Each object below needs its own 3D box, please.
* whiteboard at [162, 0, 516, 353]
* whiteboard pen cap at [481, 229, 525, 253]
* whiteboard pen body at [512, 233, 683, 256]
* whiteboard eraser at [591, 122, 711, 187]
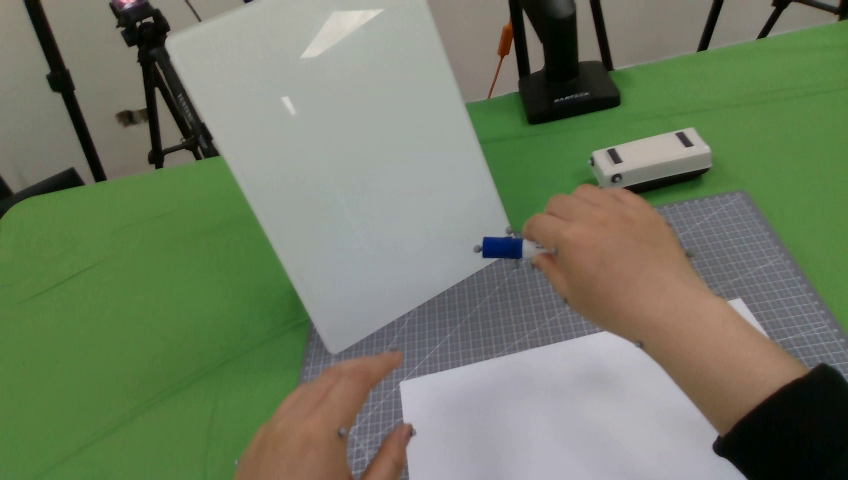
[{"bbox_3d":[-0.075,-0.090,0.599,0.217,0.307,0.142,-29,21,-14],"label":"whiteboard"},{"bbox_3d":[0.061,0.001,0.465,0.033,0.018,0.018,2,42,9],"label":"whiteboard pen cap"},{"bbox_3d":[0.118,0.004,0.454,0.140,0.017,0.017,-1,42,11],"label":"whiteboard pen body"},{"bbox_3d":[0.240,-0.089,0.647,0.112,0.042,0.055,-12,42,4],"label":"whiteboard eraser"}]
